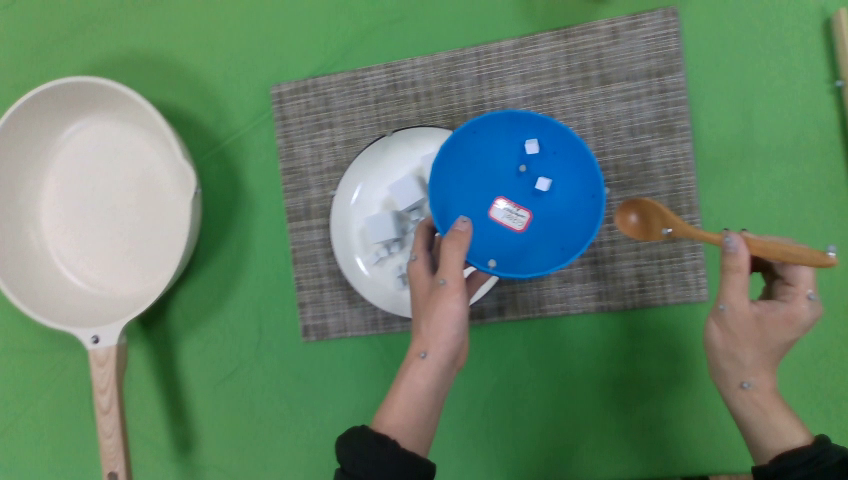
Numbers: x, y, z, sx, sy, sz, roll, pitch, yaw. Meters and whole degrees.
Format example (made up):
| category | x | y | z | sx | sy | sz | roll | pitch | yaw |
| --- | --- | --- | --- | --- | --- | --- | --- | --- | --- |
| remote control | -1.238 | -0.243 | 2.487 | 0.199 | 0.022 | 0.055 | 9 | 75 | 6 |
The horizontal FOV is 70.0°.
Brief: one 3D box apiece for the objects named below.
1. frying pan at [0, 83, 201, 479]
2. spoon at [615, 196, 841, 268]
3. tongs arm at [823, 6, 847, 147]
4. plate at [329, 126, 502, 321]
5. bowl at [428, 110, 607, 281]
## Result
| category | x | y | z | sx | sy | sz | roll | pitch | yaw |
| --- | --- | --- | --- | --- | --- | --- | --- | --- | --- |
| frying pan | -0.379 | 0.067 | 0.711 | 0.306 | 0.103 | 0.486 | -10 | 82 | 13 |
| spoon | 0.230 | -0.003 | 0.486 | 0.022 | 0.192 | 0.042 | -14 | 109 | -23 |
| tongs arm | 0.435 | -0.033 | 0.576 | 0.028 | 0.028 | 0.387 | -14 | 90 | 10 |
| plate | 0.001 | -0.018 | 0.659 | 0.207 | 0.039 | 0.207 | 0 | 92 | 12 |
| bowl | 0.078 | -0.031 | 0.541 | 0.151 | 0.077 | 0.150 | 0 | 76 | -1 |
